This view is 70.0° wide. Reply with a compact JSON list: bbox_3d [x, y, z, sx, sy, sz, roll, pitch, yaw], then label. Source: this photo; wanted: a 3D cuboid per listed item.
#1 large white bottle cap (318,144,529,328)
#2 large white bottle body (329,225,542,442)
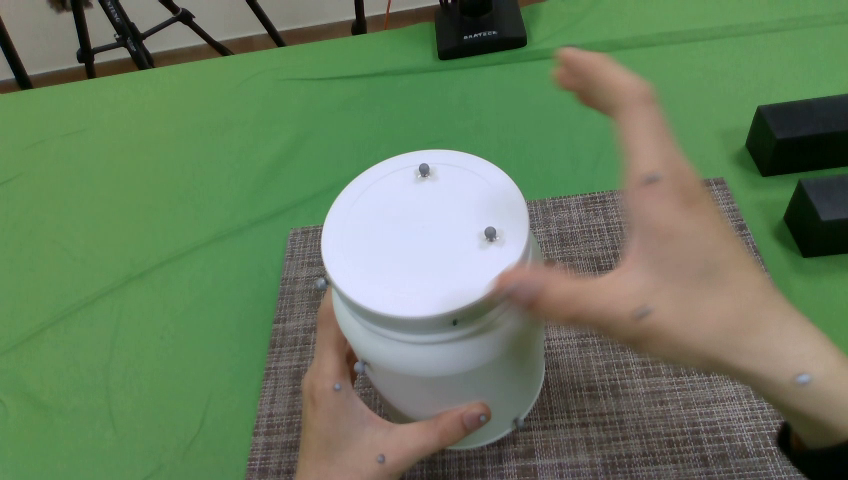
[{"bbox_3d":[-0.001,-0.006,0.331,0.115,0.018,0.113,-5,55,7],"label":"large white bottle cap"},{"bbox_3d":[0.013,0.045,0.403,0.130,0.186,0.129,-5,54,7],"label":"large white bottle body"}]
